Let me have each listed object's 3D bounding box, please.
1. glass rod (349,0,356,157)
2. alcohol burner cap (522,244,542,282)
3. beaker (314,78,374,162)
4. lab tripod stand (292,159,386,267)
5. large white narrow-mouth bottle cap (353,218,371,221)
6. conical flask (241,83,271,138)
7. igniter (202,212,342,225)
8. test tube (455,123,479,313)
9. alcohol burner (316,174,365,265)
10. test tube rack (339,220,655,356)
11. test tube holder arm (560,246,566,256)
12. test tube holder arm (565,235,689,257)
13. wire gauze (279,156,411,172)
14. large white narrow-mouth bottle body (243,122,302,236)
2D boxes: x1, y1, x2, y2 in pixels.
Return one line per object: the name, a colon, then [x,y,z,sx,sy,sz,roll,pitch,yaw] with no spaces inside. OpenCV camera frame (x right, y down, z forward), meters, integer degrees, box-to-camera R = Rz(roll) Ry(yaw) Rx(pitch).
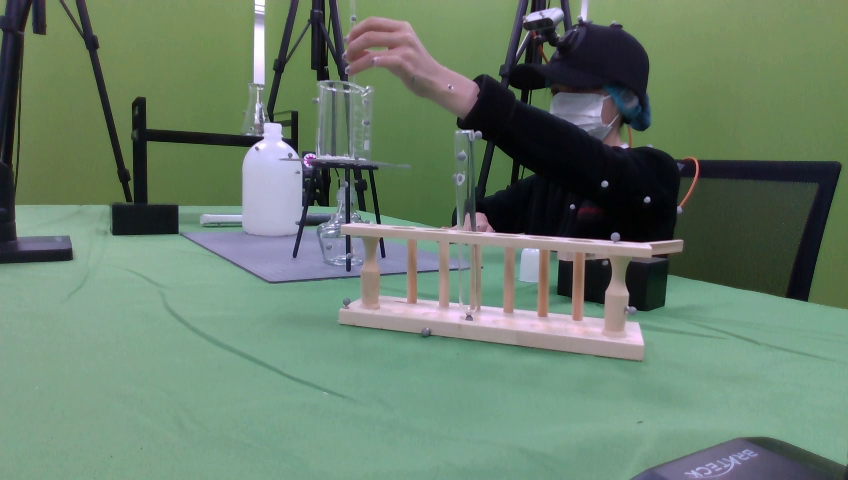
glass rod: [-0.088,-0.203,0.745,0.008,0.199,0.008,0,6,0]
alcohol burner cap: [0.137,0.026,0.740,0.034,0.048,0.034,1,6,0]
beaker: [-0.101,-0.150,0.773,0.074,0.100,0.083,-2,8,-40]
lab tripod stand: [-0.105,-0.039,0.797,0.148,0.131,0.148,2,5,0]
large white narrow-mouth bottle cap: [-0.121,-0.029,1.184,0.038,0.024,0.037,2,8,0]
conical flask: [-0.384,-0.297,1.393,0.075,0.122,0.075,2,7,0]
igniter: [-0.298,-0.044,1.216,0.278,0.025,0.057,-3,-2,-32]
test tube: [0.034,-0.016,0.476,0.017,0.150,0.017,-2,9,1]
alcohol burner: [-0.102,-0.028,0.790,0.078,0.119,0.078,0,6,0]
test tube rack: [0.056,0.032,0.495,0.242,0.085,0.067,4,7,15]
test tube holder arm: [0.173,0.007,0.611,0.088,0.015,0.010,-3,11,-29]
test tube holder arm: [0.216,0.006,0.629,0.179,0.015,0.013,-3,11,-30]
wire gauze: [-0.103,-0.103,0.785,0.121,0.011,0.126,11,8,42]
large white narrow-mouth bottle body: [-0.264,-0.109,1.061,0.102,0.194,0.102,2,8,0]
